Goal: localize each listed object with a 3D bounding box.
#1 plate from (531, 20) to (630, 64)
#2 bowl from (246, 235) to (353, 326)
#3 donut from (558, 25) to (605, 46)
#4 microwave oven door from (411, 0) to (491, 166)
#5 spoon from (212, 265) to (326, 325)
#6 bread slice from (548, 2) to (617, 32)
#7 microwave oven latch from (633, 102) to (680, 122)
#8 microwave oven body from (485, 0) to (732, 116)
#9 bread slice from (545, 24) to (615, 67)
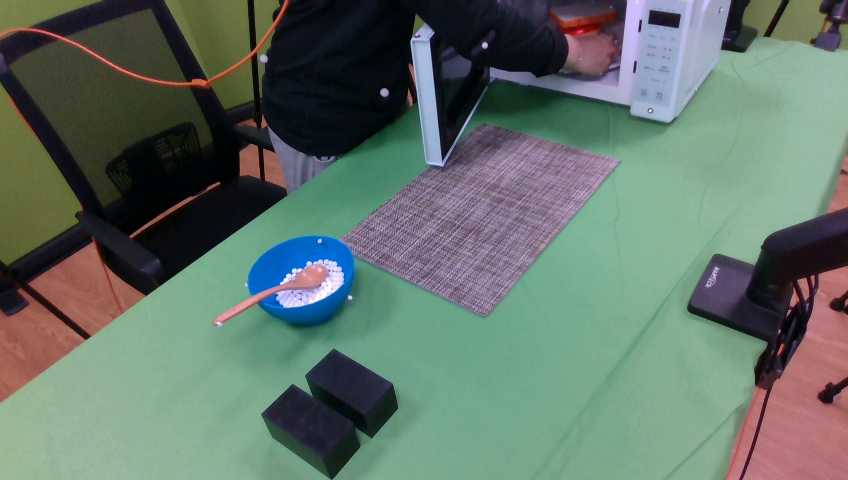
[{"bbox_3d":[0.338,-0.431,1.316,0.207,0.039,0.206,-4,40,4],"label":"plate"},{"bbox_3d":[-0.170,0.070,0.868,0.151,0.077,0.150,-4,41,4],"label":"bowl"},{"bbox_3d":[0.336,-0.450,1.293,0.099,0.048,0.098,-6,41,6],"label":"donut"},{"bbox_3d":[0.063,-0.342,1.164,0.039,0.245,0.355,9,43,18],"label":"microwave oven door"},{"bbox_3d":[-0.207,0.072,0.822,0.041,0.021,0.195,27,29,27],"label":"spoon"},{"bbox_3d":[0.339,-0.476,1.280,0.131,0.019,0.104,-11,39,-1],"label":"bread slice"},{"bbox_3d":[0.443,-0.249,1.157,0.078,0.029,0.030,21,49,30],"label":"microwave oven latch"},{"bbox_3d":[0.377,-0.463,1.267,0.438,0.261,0.327,21,49,30],"label":"microwave oven body"},{"bbox_3d":[0.344,-0.431,1.316,0.134,0.018,0.106,-25,51,-2],"label":"bread slice"}]
